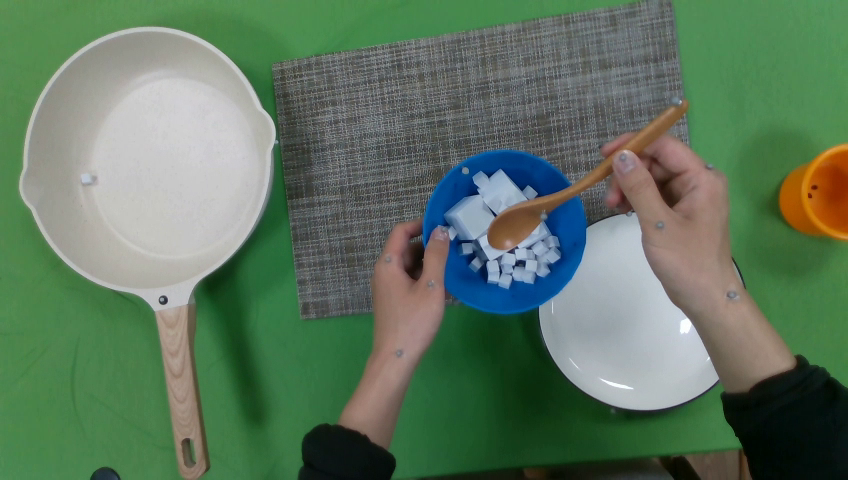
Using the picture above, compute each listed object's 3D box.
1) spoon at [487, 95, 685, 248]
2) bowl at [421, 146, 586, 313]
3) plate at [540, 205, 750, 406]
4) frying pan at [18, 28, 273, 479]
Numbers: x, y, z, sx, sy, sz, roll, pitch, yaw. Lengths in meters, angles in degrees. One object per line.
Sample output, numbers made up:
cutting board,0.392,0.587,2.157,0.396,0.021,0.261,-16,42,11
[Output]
spoon,0.116,-0.044,0.459,0.042,0.194,0.021,20,53,-29
bowl,0.072,-0.009,0.584,0.151,0.077,0.151,0,91,0
plate,0.226,0.067,0.635,0.207,0.039,0.207,0,92,8
frying pan,-0.286,0.014,0.674,0.306,0.103,0.485,-12,80,8
